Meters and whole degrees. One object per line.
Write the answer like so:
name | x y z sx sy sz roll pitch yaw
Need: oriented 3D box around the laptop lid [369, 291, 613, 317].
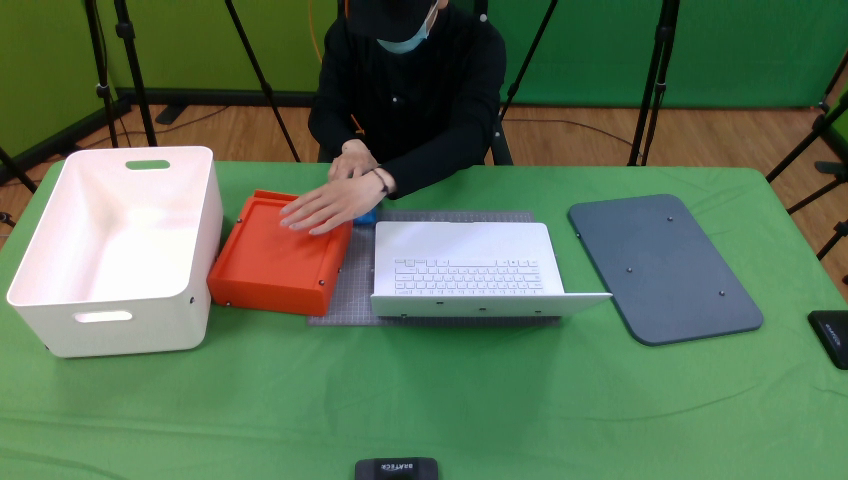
laptop lid | 0.092 0.104 0.965 0.357 0.242 0.013 0 76 -5

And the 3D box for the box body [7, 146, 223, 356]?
box body | -0.499 0.012 1.051 0.254 0.161 0.361 -3 47 -7

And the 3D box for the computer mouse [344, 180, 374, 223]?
computer mouse | -0.135 -0.083 1.252 0.063 0.041 0.116 1 48 -9

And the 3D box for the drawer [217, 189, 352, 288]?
drawer | -0.252 0.006 1.129 0.194 0.073 0.210 8 47 4

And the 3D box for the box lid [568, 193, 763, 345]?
box lid | 0.465 0.040 1.203 0.264 0.015 0.369 -7 47 -11

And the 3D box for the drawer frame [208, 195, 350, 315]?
drawer frame | -0.255 0.023 1.112 0.202 0.083 0.212 6 47 3

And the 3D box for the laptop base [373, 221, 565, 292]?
laptop base | 0.080 0.049 1.158 0.355 0.023 0.234 0 43 -4
